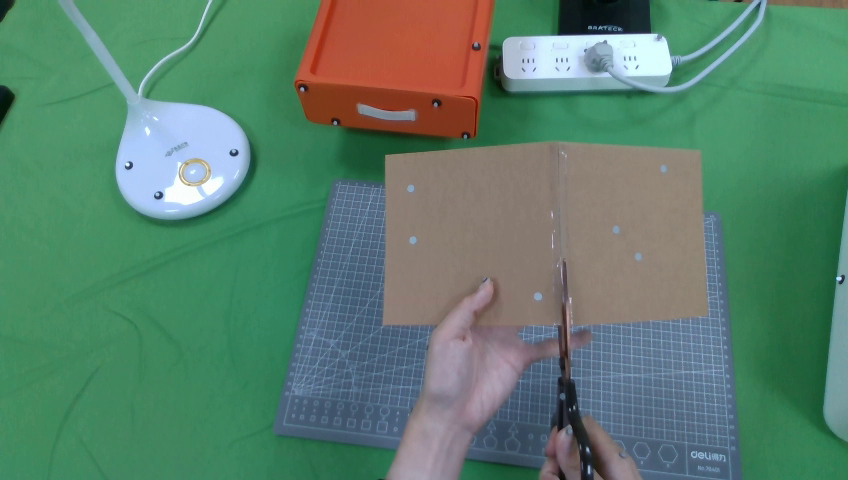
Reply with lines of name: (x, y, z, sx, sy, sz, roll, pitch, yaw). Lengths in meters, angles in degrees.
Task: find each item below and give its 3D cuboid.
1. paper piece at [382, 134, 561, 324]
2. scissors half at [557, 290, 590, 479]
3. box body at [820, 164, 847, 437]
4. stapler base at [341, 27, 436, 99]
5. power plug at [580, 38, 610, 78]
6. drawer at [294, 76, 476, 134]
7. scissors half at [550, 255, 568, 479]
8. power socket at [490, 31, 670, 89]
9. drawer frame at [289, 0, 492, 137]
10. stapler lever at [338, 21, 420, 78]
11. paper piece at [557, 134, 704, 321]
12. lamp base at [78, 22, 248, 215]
paper piece: (0.033, -0.005, 0.455, 0.135, 0.009, 0.138, -1, 89, 18)
scissors half: (0.100, 0.095, 0.420, 0.013, 0.040, 0.174, 0, 68, -2)
box body: (0.541, 0.038, 0.556, 0.253, 0.161, 0.362, 18, 66, 11)
stapler base: (-0.045, -0.215, 0.721, 0.129, 0.024, 0.041, 35, 87, 20)
power plug: (0.207, -0.214, 0.740, 0.035, 0.053, 0.072, 10, 65, 7)
drawer: (-0.028, -0.234, 0.709, 0.194, 0.074, 0.210, 7, 64, 6)
scissors half: (0.101, 0.097, 0.444, 0.013, 0.040, 0.175, -1, 101, 2)
power socket: (0.199, -0.229, 0.773, 0.227, 0.033, 0.071, 0, 65, 2)
drawer frame: (-0.029, -0.236, 0.711, 0.201, 0.083, 0.212, 6, 64, 6)
stapler lever: (-0.054, -0.222, 0.697, 0.117, 0.040, 0.027, 35, 86, 21)
paper piece: (0.159, -0.009, 0.459, 0.136, 0.004, 0.135, 0, 88, -22)
lamp base: (-0.308, -0.142, 0.671, 0.178, 0.182, 0.160, 37, 70, 21)
